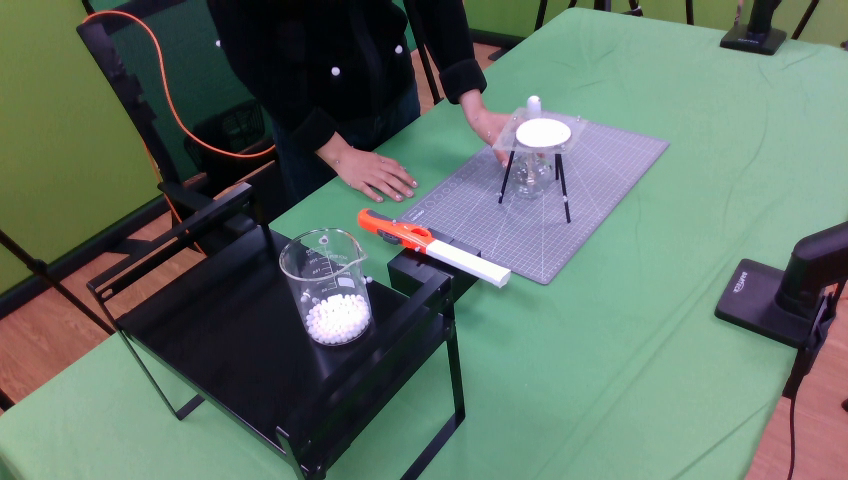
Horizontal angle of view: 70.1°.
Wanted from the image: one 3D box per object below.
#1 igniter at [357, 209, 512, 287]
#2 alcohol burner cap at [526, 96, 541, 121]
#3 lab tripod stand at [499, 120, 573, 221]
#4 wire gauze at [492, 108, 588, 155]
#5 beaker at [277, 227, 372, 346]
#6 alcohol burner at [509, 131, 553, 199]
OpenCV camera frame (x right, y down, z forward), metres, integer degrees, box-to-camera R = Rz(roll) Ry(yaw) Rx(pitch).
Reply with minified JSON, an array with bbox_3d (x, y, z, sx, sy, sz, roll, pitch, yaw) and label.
[{"bbox_3d":[0.004,0.006,0.891,0.274,0.025,0.057,23,37,30],"label":"igniter"},{"bbox_3d":[0.225,-0.272,1.243,0.034,0.048,0.033,-5,41,4],"label":"alcohol burner cap"},{"bbox_3d":[0.198,-0.117,0.992,0.148,0.132,0.147,-3,41,3],"label":"lab tripod stand"},{"bbox_3d":[0.185,-0.170,0.953,0.121,0.011,0.125,13,44,22],"label":"wire gauze"},{"bbox_3d":[-0.090,0.048,0.593,0.084,0.101,0.073,-3,41,5],"label":"beaker"},{"bbox_3d":[0.180,-0.130,1.027,0.078,0.119,0.077,-6,39,5],"label":"alcohol burner"}]
